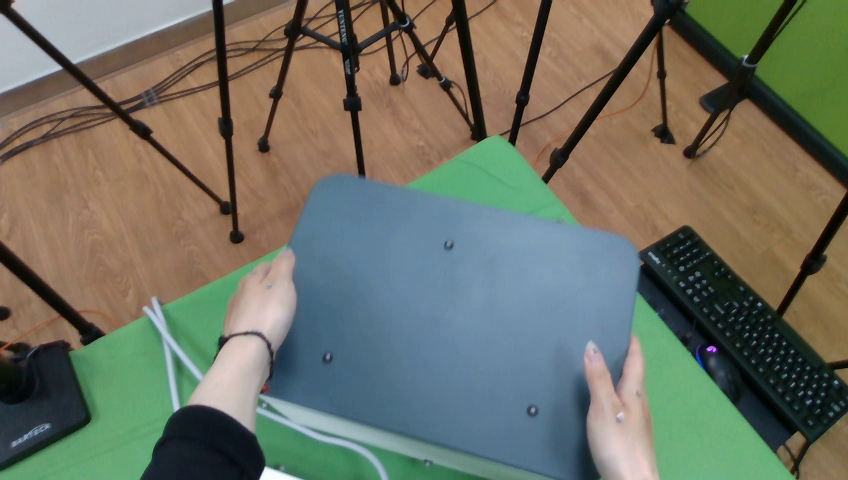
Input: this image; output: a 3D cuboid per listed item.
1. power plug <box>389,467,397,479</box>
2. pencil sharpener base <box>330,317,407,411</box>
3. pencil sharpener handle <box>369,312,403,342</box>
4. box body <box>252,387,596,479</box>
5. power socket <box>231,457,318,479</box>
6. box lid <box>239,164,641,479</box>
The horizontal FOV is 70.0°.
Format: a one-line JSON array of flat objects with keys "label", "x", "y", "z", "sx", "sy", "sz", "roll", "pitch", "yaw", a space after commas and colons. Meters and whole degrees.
[{"label": "power plug", "x": -0.035, "y": 0.291, "z": 0.653, "sx": 0.035, "sy": 0.053, "sz": 0.072, "roll": 25, "pitch": 61, "yaw": 17}, {"label": "pencil sharpener base", "x": -0.061, "y": 0.144, "z": 0.706, "sx": 0.061, "sy": 0.108, "sz": 0.076, "roll": 19, "pitch": 64, "yaw": 11}, {"label": "pencil sharpener handle", "x": -0.040, "y": 0.097, "z": 0.717, "sx": 0.036, "sy": 0.068, "sz": 0.030, "roll": 16, "pitch": 63, "yaw": 16}, {"label": "box body", "x": 0.024, "y": 0.116, "z": 0.698, "sx": 0.363, "sy": 0.161, "sz": 0.252, "roll": 13, "pitch": 63, "yaw": 7}, {"label": "power socket", "x": -0.116, "y": 0.307, "z": 0.670, "sx": 0.226, "sy": 0.033, "sz": 0.072, "roll": 16, "pitch": 63, "yaw": 9}, {"label": "box lid", "x": 0.024, "y": 0.068, "z": 0.617, "sx": 0.371, "sy": 0.015, "sz": 0.262, "roll": 14, "pitch": 68, "yaw": 7}]
